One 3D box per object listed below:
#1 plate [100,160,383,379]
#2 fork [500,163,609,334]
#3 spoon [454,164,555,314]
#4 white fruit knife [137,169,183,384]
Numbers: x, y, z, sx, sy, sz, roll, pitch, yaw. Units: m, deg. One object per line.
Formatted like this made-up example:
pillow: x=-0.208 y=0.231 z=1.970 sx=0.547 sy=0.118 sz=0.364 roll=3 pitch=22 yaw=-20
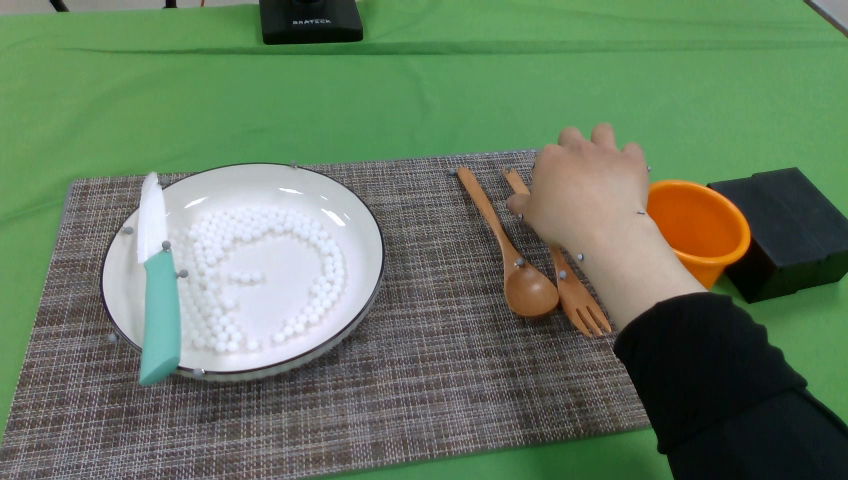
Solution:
plate: x=-0.136 y=0.019 z=0.475 sx=0.209 sy=0.038 sz=0.207 roll=3 pitch=48 yaw=-3
fork: x=0.106 y=-0.001 z=0.530 sx=0.028 sy=0.019 sz=0.205 roll=-14 pitch=53 yaw=-7
spoon: x=0.062 y=-0.009 z=0.529 sx=0.041 sy=0.022 sz=0.191 roll=-20 pitch=51 yaw=-2
white fruit knife: x=-0.196 y=0.013 z=0.445 sx=0.027 sy=0.016 sz=0.205 roll=-14 pitch=51 yaw=-12
